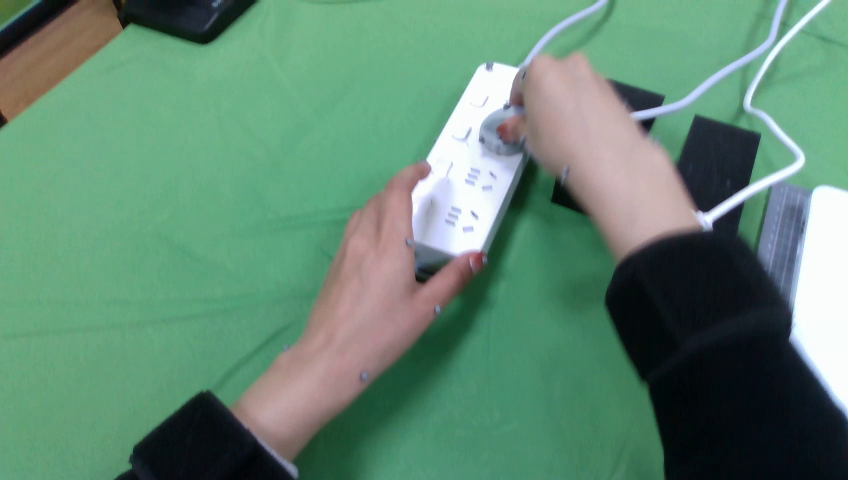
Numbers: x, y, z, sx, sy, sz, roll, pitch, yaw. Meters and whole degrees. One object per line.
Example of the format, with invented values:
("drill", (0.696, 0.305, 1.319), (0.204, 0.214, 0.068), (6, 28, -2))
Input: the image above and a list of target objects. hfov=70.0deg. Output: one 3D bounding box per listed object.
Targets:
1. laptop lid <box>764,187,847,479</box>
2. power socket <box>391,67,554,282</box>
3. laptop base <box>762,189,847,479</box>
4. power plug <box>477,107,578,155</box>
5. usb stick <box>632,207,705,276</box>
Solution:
("laptop lid", (0.402, 0.103, 0.358), (0.355, 0.013, 0.240), (22, 60, 16))
("power socket", (0.044, -0.064, 0.492), (0.072, 0.033, 0.225), (19, 56, 14))
("laptop base", (0.404, 0.108, 0.369), (0.353, 0.023, 0.234), (20, 61, 15))
("power plug", (0.075, -0.074, 0.473), (0.072, 0.053, 0.035), (31, 58, 16))
("usb stick", (0.158, 0.005, 0.401), (0.027, 0.059, 0.021), (-28, 69, -20))
